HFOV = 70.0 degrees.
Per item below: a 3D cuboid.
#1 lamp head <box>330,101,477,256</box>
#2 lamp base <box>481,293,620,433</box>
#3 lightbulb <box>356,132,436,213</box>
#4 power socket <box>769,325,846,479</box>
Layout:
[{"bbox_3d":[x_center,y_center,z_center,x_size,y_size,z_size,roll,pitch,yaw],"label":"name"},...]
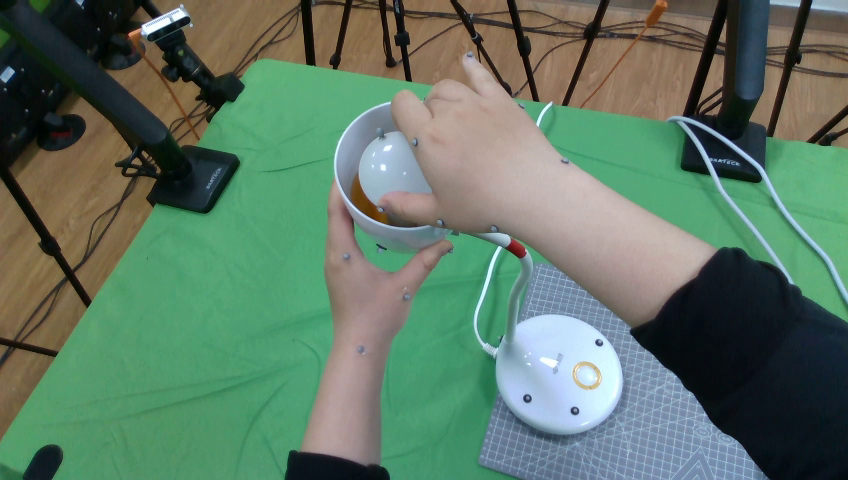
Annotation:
[{"bbox_3d":[-0.012,-0.035,0.503,0.112,0.124,0.111,-1,66,3],"label":"lamp head"},{"bbox_3d":[0.149,0.125,0.719,0.178,0.182,0.159,7,58,14],"label":"lamp base"},{"bbox_3d":[-0.020,-0.044,0.472,0.059,0.108,0.059,0,77,2],"label":"lightbulb"},{"bbox_3d":[0.455,0.203,0.723,0.072,0.033,0.225,12,59,13],"label":"power socket"}]
